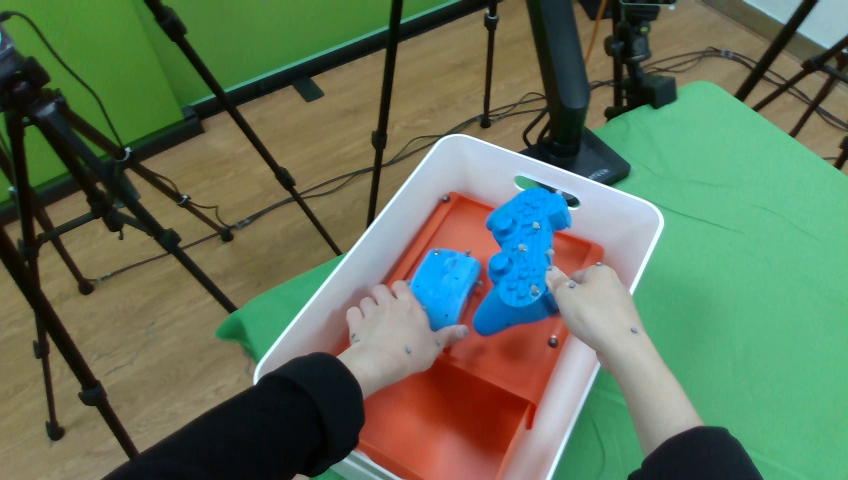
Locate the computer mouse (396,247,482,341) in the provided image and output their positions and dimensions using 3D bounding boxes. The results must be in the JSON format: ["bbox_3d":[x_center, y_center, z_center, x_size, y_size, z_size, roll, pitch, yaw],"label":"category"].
[{"bbox_3d":[0.017,0.050,0.635,0.062,0.041,0.116,14,48,15],"label":"computer mouse"}]

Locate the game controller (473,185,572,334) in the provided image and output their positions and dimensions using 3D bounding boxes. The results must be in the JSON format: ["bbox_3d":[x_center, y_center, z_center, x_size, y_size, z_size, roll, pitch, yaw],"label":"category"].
[{"bbox_3d":[0.092,0.012,0.587,0.097,0.052,0.154,-12,48,28],"label":"game controller"}]

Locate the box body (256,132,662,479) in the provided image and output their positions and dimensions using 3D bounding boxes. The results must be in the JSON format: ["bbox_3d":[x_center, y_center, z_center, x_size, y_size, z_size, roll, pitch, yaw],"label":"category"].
[{"bbox_3d":[0.050,0.090,0.620,0.253,0.162,0.362,24,57,18],"label":"box body"}]
